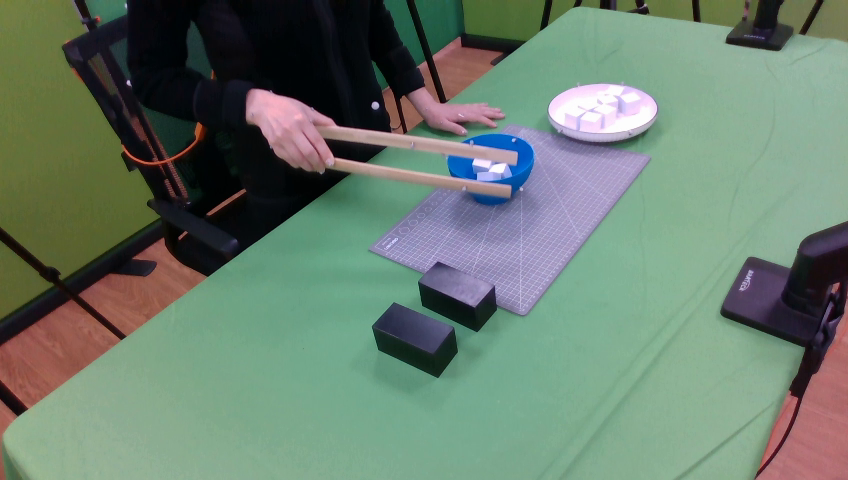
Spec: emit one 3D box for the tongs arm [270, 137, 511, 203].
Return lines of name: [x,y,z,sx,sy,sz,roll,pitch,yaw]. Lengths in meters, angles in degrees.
tongs arm: [-0.059,-0.104,0.910,0.386,0.028,0.028,12,59,11]

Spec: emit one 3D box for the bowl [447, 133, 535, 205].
bowl: [0.119,-0.115,1.051,0.151,0.077,0.150,-5,40,5]

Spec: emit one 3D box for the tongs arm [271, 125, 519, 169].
tongs arm: [-0.048,-0.137,0.936,0.384,0.026,0.050,11,55,10]

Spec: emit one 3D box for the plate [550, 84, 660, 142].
plate: [0.355,-0.246,1.195,0.207,0.039,0.206,-5,39,5]
